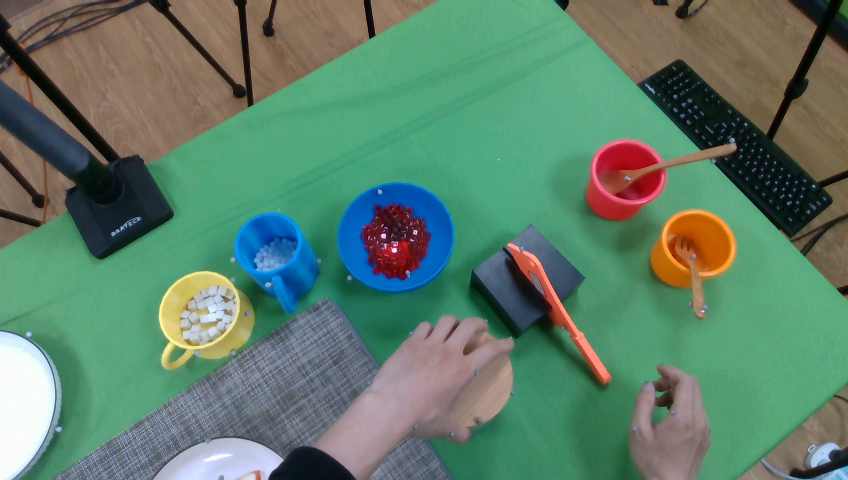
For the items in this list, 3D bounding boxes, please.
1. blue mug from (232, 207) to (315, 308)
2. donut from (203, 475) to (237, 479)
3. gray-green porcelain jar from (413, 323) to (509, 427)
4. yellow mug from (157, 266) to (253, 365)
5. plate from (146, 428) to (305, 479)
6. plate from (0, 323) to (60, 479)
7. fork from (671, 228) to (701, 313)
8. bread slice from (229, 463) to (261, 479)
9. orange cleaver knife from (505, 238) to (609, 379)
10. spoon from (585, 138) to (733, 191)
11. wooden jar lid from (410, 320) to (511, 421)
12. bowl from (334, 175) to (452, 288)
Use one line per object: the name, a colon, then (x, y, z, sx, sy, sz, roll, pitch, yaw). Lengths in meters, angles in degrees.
blue mug: (-0.187, 0.031, 0.776, 0.082, 0.106, 0.115, -14, 70, -4)
donut: (-0.232, 0.314, 0.672, 0.099, 0.048, 0.098, 1, 68, -1)
gray-green porcelain jar: (0.041, 0.163, 0.711, 0.106, 0.127, 0.105, 0, 69, 1)
yellow mug: (-0.286, 0.103, 0.771, 0.099, 0.064, 0.130, 31, 74, 13)
plate: (-0.229, 0.327, 0.697, 0.209, 0.038, 0.207, 0, 69, 1)
plate: (-0.553, 0.208, 0.752, 0.208, 0.039, 0.206, 0, 70, 1)
fork: (0.323, 0.032, 0.742, 0.028, 0.019, 0.206, 26, 28, 5)
bread slice: (-0.242, 0.333, 0.699, 0.132, 0.019, 0.104, -20, 70, -10)
orange cleaver knife: (0.166, 0.085, 0.761, 0.012, 0.077, 0.212, -36, 102, -11)
spoon: (0.302, -0.101, 0.795, 0.022, 0.193, 0.041, 30, 59, -36)
wooden jar lid: (0.039, 0.141, 0.653, 0.108, 0.021, 0.107, 1, 69, -1)
bowl: (-0.038, 0.000, 0.799, 0.151, 0.077, 0.150, 0, 70, 1)
